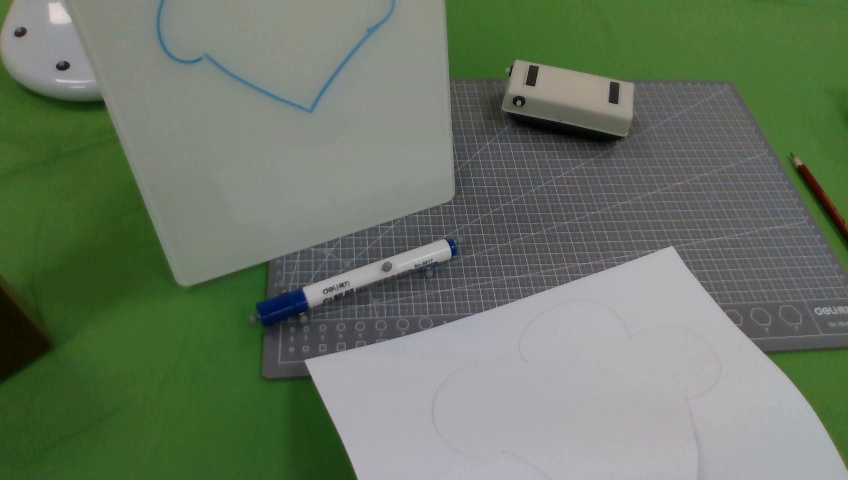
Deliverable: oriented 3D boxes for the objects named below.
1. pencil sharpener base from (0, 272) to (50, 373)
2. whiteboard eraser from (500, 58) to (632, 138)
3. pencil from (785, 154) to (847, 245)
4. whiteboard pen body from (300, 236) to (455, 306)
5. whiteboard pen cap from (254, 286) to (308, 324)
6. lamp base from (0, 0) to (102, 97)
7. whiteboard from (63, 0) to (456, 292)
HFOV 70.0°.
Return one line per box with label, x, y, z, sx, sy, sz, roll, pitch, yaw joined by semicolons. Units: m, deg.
pencil sharpener base;-0.276;0.037;0.336;0.061;0.108;0.076;38;59;20
whiteboard eraser;0.127;-0.126;0.544;0.112;0.042;0.055;14;54;3
pencil;0.354;-0.005;0.508;0.012;0.012;0.192;-5;52;-10
whiteboard pen body;-0.042;0.024;0.423;0.141;0.017;0.017;-19;58;-19
whiteboard pen cap;-0.095;0.043;0.404;0.033;0.018;0.018;-20;58;-19
lamp base;-0.298;-0.237;0.490;0.178;0.182;0.160;31;56;19
whiteboard;-0.111;-0.155;0.412;0.217;0.308;0.142;-19;38;-18
